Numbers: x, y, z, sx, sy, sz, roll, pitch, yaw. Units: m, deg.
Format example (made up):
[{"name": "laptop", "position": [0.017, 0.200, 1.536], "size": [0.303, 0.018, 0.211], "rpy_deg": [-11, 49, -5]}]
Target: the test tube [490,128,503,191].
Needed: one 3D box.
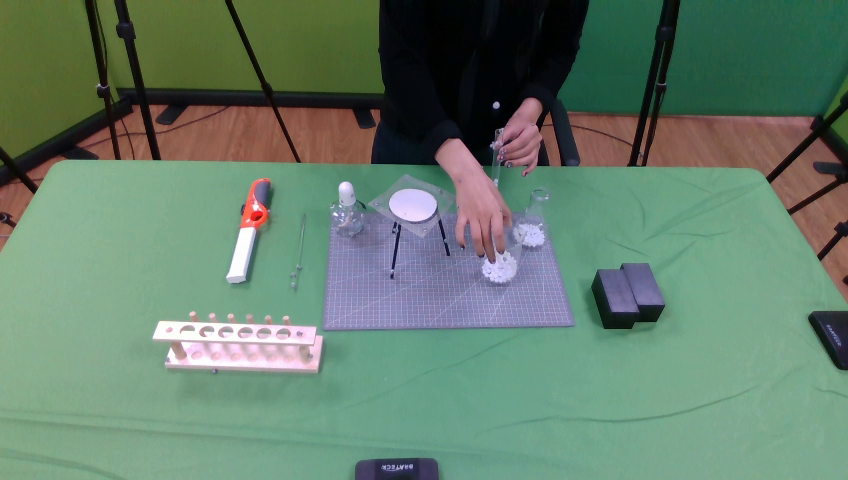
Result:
[{"name": "test tube", "position": [0.134, -0.146, 1.130], "size": [0.017, 0.151, 0.017], "rpy_deg": [-1, 51, 1]}]

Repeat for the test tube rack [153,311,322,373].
[{"name": "test tube rack", "position": [-0.293, 0.160, 0.978], "size": [0.242, 0.085, 0.066], "rpy_deg": [3, 46, -2]}]

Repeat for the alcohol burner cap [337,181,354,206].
[{"name": "alcohol burner cap", "position": [-0.151, -0.090, 1.157], "size": [0.034, 0.048, 0.033], "rpy_deg": [0, 52, 0]}]

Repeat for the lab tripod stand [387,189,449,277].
[{"name": "lab tripod stand", "position": [-0.021, -0.018, 1.135], "size": [0.148, 0.132, 0.147], "rpy_deg": [3, 44, -3]}]

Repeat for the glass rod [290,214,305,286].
[{"name": "glass rod", "position": [-0.245, 0.015, 1.175], "size": [0.008, 0.008, 0.198], "rpy_deg": [1, 43, -3]}]

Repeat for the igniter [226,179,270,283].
[{"name": "igniter", "position": [-0.345, -0.027, 1.195], "size": [0.057, 0.025, 0.274], "rpy_deg": [-6, 46, 5]}]

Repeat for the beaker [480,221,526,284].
[{"name": "beaker", "position": [0.143, 0.025, 1.110], "size": [0.084, 0.101, 0.073], "rpy_deg": [-12, 46, -14]}]

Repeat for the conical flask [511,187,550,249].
[{"name": "conical flask", "position": [0.217, -0.048, 1.190], "size": [0.075, 0.122, 0.075], "rpy_deg": [2, 46, -2]}]

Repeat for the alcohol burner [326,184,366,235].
[{"name": "alcohol burner", "position": [-0.152, -0.066, 1.184], "size": [0.078, 0.119, 0.077], "rpy_deg": [4, 46, -4]}]

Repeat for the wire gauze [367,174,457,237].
[{"name": "wire gauze", "position": [-0.021, -0.067, 1.088], "size": [0.124, 0.011, 0.121], "rpy_deg": [28, 49, 21]}]
